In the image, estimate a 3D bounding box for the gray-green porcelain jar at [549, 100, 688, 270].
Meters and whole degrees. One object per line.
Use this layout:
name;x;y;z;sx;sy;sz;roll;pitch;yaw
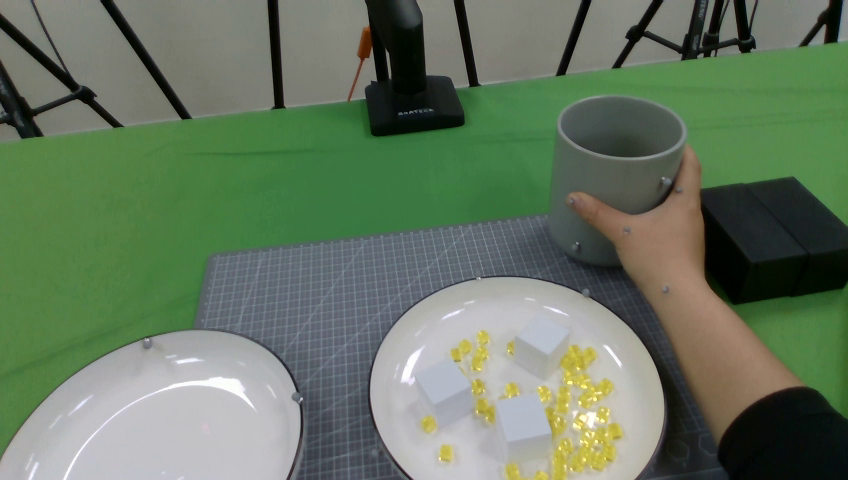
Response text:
gray-green porcelain jar;0.169;-0.044;0.545;0.106;0.128;0.105;-3;41;3

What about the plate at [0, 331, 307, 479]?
plate;-0.182;0.153;0.415;0.209;0.038;0.207;-3;41;3

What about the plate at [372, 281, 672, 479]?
plate;0.067;0.114;0.440;0.207;0.039;0.205;-2;41;2
